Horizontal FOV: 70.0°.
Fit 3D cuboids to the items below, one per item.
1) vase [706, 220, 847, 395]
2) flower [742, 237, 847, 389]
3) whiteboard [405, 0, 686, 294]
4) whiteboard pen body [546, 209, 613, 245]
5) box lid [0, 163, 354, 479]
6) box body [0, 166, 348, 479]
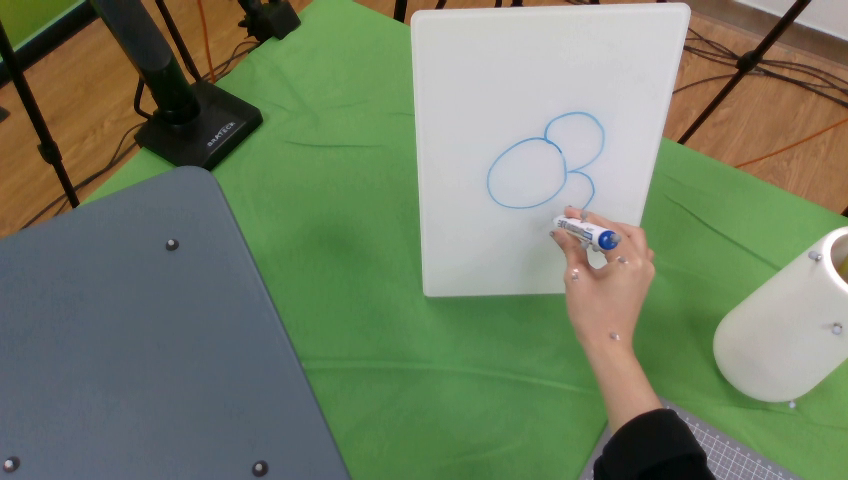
[{"bbox_3d":[0.325,0.063,0.529,0.098,0.202,0.097,-1,58,1],"label":"vase"},{"bbox_3d":[0.325,0.007,0.465,0.044,0.364,0.038,23,45,18],"label":"flower"},{"bbox_3d":[0.098,-0.106,0.607,0.217,0.308,0.142,-1,40,1],"label":"whiteboard"},{"bbox_3d":[0.128,-0.014,0.519,0.017,0.140,0.017,-1,99,-6],"label":"whiteboard pen body"},{"bbox_3d":[-0.230,0.111,0.444,0.263,0.015,0.368,-25,62,-14],"label":"box lid"},{"bbox_3d":[-0.227,0.151,0.507,0.254,0.162,0.360,-26,62,-13],"label":"box body"}]
